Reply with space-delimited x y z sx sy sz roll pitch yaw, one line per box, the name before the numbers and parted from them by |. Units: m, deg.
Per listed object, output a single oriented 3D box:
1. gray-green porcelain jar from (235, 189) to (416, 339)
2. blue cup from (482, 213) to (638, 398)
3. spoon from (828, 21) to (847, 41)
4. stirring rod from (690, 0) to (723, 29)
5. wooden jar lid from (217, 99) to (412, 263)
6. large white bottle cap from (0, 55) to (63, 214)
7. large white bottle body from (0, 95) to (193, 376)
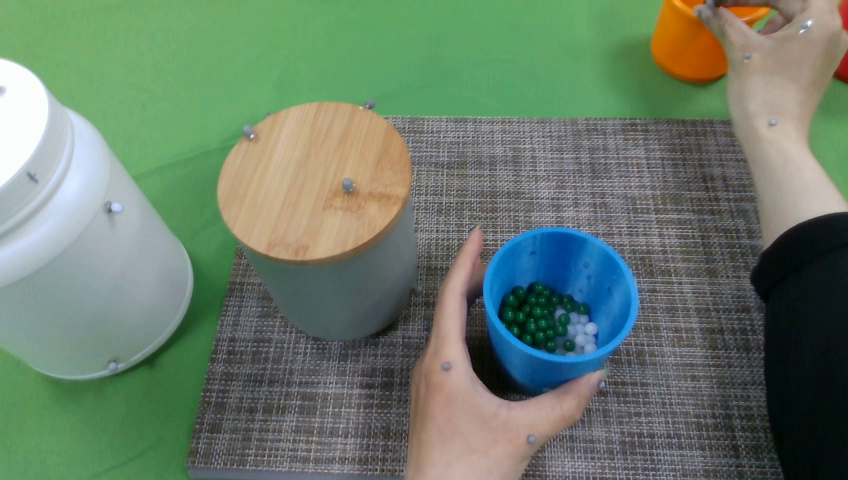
gray-green porcelain jar | -0.059 0.000 0.396 0.106 0.127 0.105 -1 60 2
blue cup | 0.077 0.053 0.375 0.092 0.101 0.092 -1 58 2
spoon | 0.416 -0.176 0.479 0.042 0.192 0.022 -22 107 -15
stirring rod | 0.232 -0.190 0.493 0.014 0.176 0.006 22 105 14
wooden jar lid | -0.060 -0.033 0.342 0.108 0.021 0.107 -2 60 4
large white bottle cap | -0.241 -0.048 0.300 0.115 0.018 0.114 -1 60 1
large white bottle body | -0.238 -0.005 0.373 0.130 0.186 0.129 -1 59 1
